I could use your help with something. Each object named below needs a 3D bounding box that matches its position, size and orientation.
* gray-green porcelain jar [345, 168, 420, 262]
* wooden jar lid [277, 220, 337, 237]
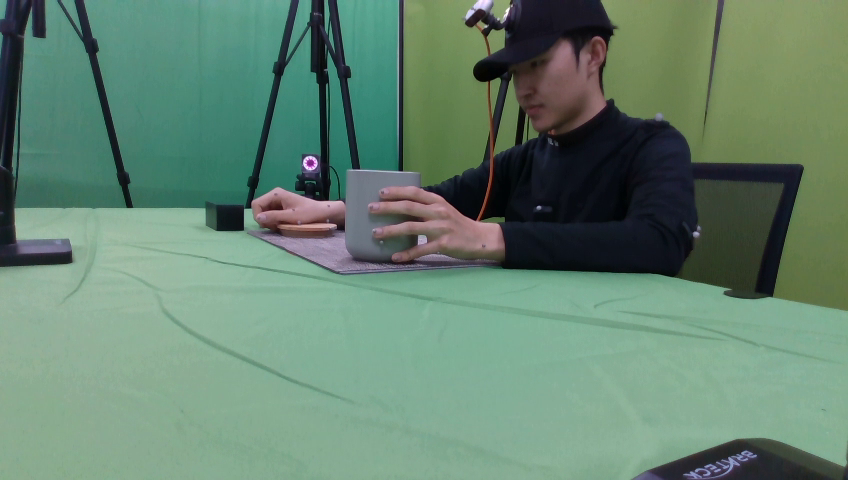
[{"bbox_3d":[-0.059,-0.037,0.858,0.106,0.126,0.106,1,7,0],"label":"gray-green porcelain jar"},{"bbox_3d":[-0.215,-0.022,1.111,0.108,0.020,0.108,3,7,0],"label":"wooden jar lid"}]
